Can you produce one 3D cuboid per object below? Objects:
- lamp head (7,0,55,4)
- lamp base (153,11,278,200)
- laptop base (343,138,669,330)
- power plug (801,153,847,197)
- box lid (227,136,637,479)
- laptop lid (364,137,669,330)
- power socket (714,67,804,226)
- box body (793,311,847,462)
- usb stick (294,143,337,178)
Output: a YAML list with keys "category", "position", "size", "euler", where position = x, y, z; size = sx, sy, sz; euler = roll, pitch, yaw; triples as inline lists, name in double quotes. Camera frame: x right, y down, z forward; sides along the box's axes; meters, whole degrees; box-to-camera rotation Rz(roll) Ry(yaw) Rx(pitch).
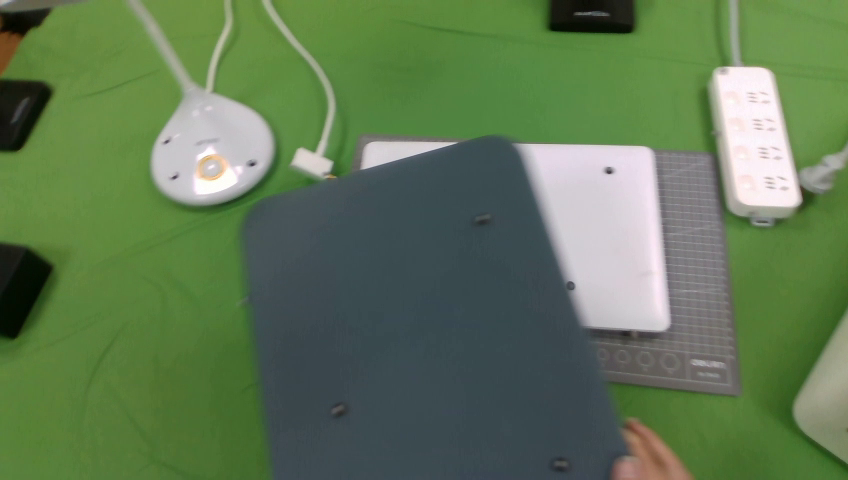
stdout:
- category: "lamp head"
  position: [-0.280, -0.251, 0.461]
  size: [0.112, 0.112, 0.123]
  euler: [-12, 106, 4]
- category: "lamp base"
  position: [-0.282, -0.167, 0.732]
  size: [0.161, 0.182, 0.177]
  euler: [-20, 59, -6]
- category: "laptop base"
  position: [0.094, -0.014, 0.707]
  size: [0.354, 0.023, 0.234]
  euler: [3, 66, 7]
- category: "power plug"
  position: [0.464, -0.071, 0.692]
  size: [0.073, 0.053, 0.035]
  euler: [-10, 56, -20]
- category: "box lid"
  position: [-0.005, 0.096, 0.484]
  size: [0.263, 0.015, 0.368]
  euler: [-17, 69, -2]
- category: "laptop lid"
  position: [0.092, -0.018, 0.696]
  size: [0.356, 0.013, 0.240]
  euler: [4, 65, 8]
- category: "power socket"
  position: [0.399, -0.122, 0.728]
  size: [0.072, 0.033, 0.225]
  euler: [4, 62, 7]
- category: "box body"
  position: [0.540, 0.086, 0.530]
  size: [0.252, 0.162, 0.363]
  euler: [37, 71, 22]
- category: "usb stick"
  position: [-0.131, -0.096, 0.759]
  size: [0.059, 0.021, 0.027]
  euler: [28, 68, -18]
